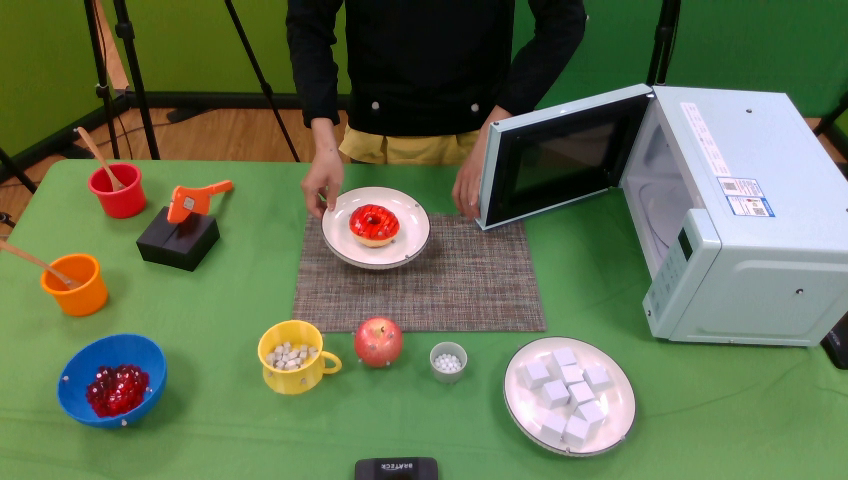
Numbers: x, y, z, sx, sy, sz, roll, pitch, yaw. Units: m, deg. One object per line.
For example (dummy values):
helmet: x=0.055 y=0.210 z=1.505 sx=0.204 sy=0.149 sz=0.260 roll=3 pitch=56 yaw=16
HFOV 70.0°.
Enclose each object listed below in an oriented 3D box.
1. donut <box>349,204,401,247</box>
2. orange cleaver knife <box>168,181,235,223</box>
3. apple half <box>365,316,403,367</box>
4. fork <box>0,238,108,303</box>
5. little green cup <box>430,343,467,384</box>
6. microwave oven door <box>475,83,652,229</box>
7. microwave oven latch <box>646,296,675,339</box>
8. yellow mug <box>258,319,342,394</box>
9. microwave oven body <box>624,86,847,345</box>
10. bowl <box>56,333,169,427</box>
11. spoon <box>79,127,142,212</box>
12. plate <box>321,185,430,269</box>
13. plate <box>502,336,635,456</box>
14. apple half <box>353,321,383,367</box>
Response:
donut: x=-0.093 y=-0.028 z=1.148 sx=0.099 sy=0.048 sz=0.098 roll=4 pitch=46 yaw=-4
orange cleaver knife: x=-0.436 y=-0.078 z=1.196 sx=0.012 sy=0.077 sz=0.211 roll=16 pitch=15 yaw=10
apple half: x=-0.063 y=0.165 z=1.000 sx=0.053 sy=0.075 sz=0.080 roll=-16 pitch=45 yaw=-24
fork: x=-0.633 y=0.048 z=1.017 sx=0.208 sy=0.018 sz=0.028 roll=40 pitch=41 yaw=-27
little green cup: x=0.039 y=0.203 z=0.993 sx=0.061 sy=0.039 sz=0.061 roll=2 pitch=46 yaw=-2
microwave oven door: x=0.274 y=-0.167 z=1.201 sx=0.356 sy=0.245 sz=0.039 roll=-18 pitch=50 yaw=-20
microwave oven latch: x=0.412 y=0.134 z=1.061 sx=0.030 sy=0.029 sz=0.078 roll=4 pitch=45 yaw=0
yellow mug: x=-0.196 y=0.189 z=0.972 sx=0.131 sy=0.064 sz=0.099 roll=9 pitch=46 yaw=4
microwave oven body: x=0.567 y=-0.053 z=1.118 sx=0.326 sy=0.261 sz=0.439 roll=2 pitch=45 yaw=-1
bowl: x=-0.456 y=0.223 z=0.911 sx=0.151 sy=0.077 sz=0.150 roll=3 pitch=45 yaw=-2
spoon: x=-0.624 y=-0.140 z=1.203 sx=0.041 sy=0.021 sz=0.194 roll=-33 pitch=100 yaw=-26
plate: x=-0.092 y=-0.021 z=1.157 sx=0.209 sy=0.038 sz=0.208 roll=4 pitch=48 yaw=-5
plate: x=0.225 y=0.248 z=0.963 sx=0.208 sy=0.039 sz=0.206 roll=2 pitch=46 yaw=-2
apple half: x=-0.098 y=0.176 z=0.984 sx=0.033 sy=0.081 sz=0.081 roll=-17 pitch=49 yaw=-25
